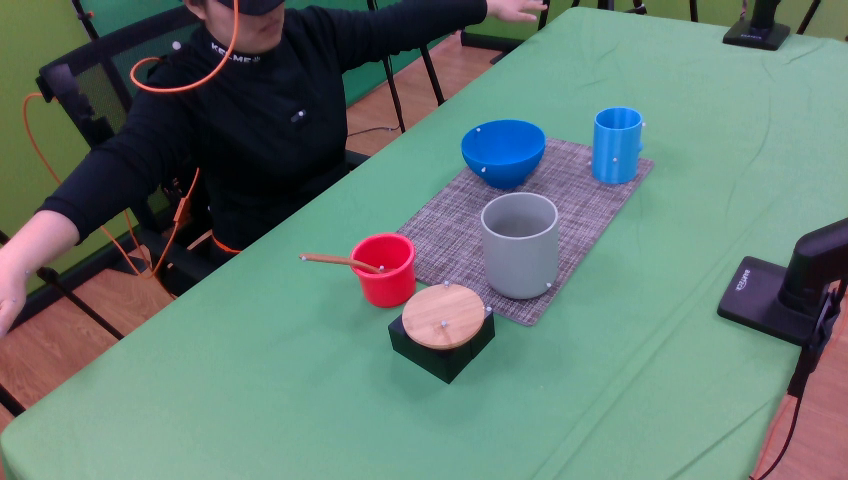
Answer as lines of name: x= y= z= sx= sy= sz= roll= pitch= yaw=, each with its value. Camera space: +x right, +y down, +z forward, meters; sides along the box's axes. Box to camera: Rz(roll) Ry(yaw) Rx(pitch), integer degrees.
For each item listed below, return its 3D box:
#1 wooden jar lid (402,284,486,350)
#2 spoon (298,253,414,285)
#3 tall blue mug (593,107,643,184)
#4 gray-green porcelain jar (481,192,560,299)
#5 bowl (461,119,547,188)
wooden jar lid: x=0.026 y=0.101 z=0.786 sx=0.108 sy=0.021 sz=0.108 roll=-5 pitch=39 yaw=4
spoon: x=-0.093 y=0.038 z=0.866 sx=0.195 sy=0.021 sz=0.041 roll=18 pitch=24 yaw=-40
tall blue mug: x=0.330 y=-0.172 z=1.052 sx=0.078 sy=0.108 sz=0.106 roll=-12 pitch=40 yaw=0
gray-green porcelain jar: x=0.138 y=0.012 z=0.858 sx=0.106 sy=0.127 sz=0.105 roll=-6 pitch=40 yaw=5
bowl: x=0.145 y=-0.145 z=1.081 sx=0.151 sy=0.077 sz=0.150 roll=-5 pitch=40 yaw=5
